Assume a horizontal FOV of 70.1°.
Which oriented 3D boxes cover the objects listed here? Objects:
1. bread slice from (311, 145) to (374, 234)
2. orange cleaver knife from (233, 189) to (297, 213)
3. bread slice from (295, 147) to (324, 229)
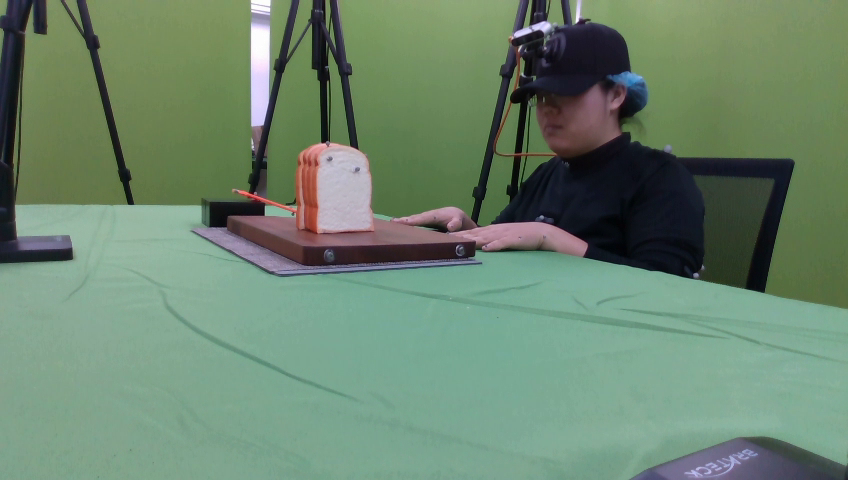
[{"bbox_3d":[-0.127,-0.076,0.919,0.107,0.134,0.018,-8,8,-41],"label":"bread slice"},{"bbox_3d":[-0.279,-0.065,1.219,0.212,0.012,0.077,20,-3,-21],"label":"orange cleaver knife"},{"bbox_3d":[-0.157,-0.082,0.959,0.105,0.131,0.019,-1,-2,-43],"label":"bread slice"}]
